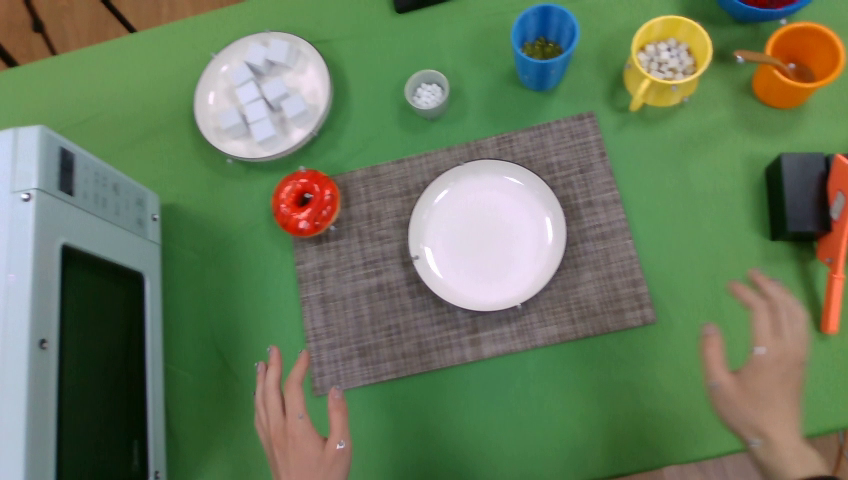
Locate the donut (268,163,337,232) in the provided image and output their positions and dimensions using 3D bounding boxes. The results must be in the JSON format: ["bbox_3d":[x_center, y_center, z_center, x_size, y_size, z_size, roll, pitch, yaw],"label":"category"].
[{"bbox_3d":[-0.169,-0.058,0.839,0.099,0.048,0.098,-2,77,9],"label":"donut"}]

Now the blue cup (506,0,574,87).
[{"bbox_3d":[0.154,-0.257,0.817,0.092,0.101,0.092,-2,77,7],"label":"blue cup"}]

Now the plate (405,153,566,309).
[{"bbox_3d":[0.080,-0.011,0.795,0.209,0.038,0.208,-2,76,8],"label":"plate"}]

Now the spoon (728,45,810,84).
[{"bbox_3d":[0.426,-0.222,0.745,0.021,0.195,0.041,-32,66,46],"label":"spoon"}]

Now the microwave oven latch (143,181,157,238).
[{"bbox_3d":[-0.396,-0.041,0.855,0.030,0.029,0.078,-8,76,6],"label":"microwave oven latch"}]

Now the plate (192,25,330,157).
[{"bbox_3d":[-0.236,-0.216,0.895,0.207,0.039,0.206,-2,76,8],"label":"plate"}]

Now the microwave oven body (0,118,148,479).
[{"bbox_3d":[-0.529,0.129,0.731,0.326,0.261,0.439,-10,75,5],"label":"microwave oven body"}]

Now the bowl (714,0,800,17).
[{"bbox_3d":[0.442,-0.356,0.813,0.151,0.077,0.150,-2,77,8],"label":"bowl"}]

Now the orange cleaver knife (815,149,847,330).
[{"bbox_3d":[0.481,0.001,0.716,0.012,0.077,0.212,1,106,11],"label":"orange cleaver knife"}]

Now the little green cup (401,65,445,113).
[{"bbox_3d":[0.001,-0.212,0.860,0.061,0.039,0.061,-2,75,8],"label":"little green cup"}]

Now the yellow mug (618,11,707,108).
[{"bbox_3d":[0.307,-0.231,0.807,0.099,0.064,0.130,35,84,15],"label":"yellow mug"}]

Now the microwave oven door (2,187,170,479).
[{"bbox_3d":[-0.380,0.143,0.701,0.039,0.245,0.353,-11,75,6],"label":"microwave oven door"}]
